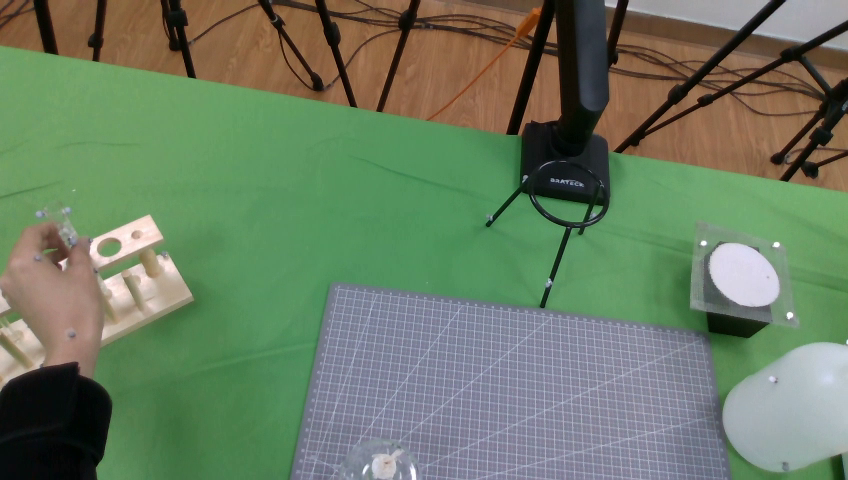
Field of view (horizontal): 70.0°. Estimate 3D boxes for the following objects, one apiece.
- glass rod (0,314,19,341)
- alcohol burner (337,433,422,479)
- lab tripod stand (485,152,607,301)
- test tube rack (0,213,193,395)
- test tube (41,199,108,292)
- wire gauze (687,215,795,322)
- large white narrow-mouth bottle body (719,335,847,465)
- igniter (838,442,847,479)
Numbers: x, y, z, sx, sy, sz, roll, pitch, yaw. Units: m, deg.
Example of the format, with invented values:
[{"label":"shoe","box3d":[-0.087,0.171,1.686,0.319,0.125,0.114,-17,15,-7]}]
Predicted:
[{"label":"glass rod","box3d":[-0.396,0.037,0.536,0.008,0.201,0.008,6,49,-6]},{"label":"alcohol burner","box3d":[-0.038,0.207,0.541,0.078,0.120,0.077,5,57,-7]},{"label":"lab tripod stand","box3d":[0.147,-0.022,0.699,0.149,0.132,0.147,4,59,-7]},{"label":"test tube rack","box3d":[-0.365,0.071,0.597,0.242,0.086,0.066,-29,67,-23]},{"label":"test tube","box3d":[-0.330,0.012,0.579,0.017,0.151,0.017,5,55,-7]},{"label":"wire gauze","box3d":[0.370,0.032,0.714,0.121,0.011,0.124,15,58,1]},{"label":"large white narrow-mouth bottle body","box3d":[0.380,0.150,0.592,0.102,0.196,0.101,3,58,-5]},{"label":"igniter","box3d":[0.449,0.292,0.613,0.057,0.025,0.274,19,57,-8]}]
